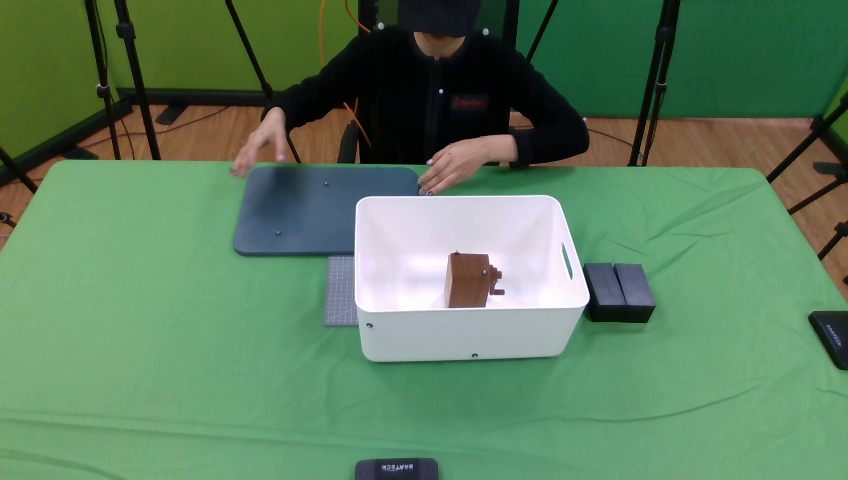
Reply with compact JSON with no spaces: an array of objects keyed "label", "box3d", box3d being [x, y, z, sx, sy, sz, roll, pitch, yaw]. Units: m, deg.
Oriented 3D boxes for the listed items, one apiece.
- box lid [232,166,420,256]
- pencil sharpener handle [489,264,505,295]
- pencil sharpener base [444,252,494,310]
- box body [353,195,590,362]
[{"label":"box lid","box3d":[-0.191,-0.066,1.255,0.372,0.015,0.261,-1,46,-4]},{"label":"pencil sharpener handle","box3d":[0.129,0.071,1.052,0.031,0.068,0.036,1,43,-4]},{"label":"pencil sharpener base","box3d":[0.078,0.078,1.058,0.077,0.107,0.061,1,45,-4]},{"label":"box body","box3d":[0.065,0.066,1.040,0.364,0.161,0.252,-1,46,-5]}]
